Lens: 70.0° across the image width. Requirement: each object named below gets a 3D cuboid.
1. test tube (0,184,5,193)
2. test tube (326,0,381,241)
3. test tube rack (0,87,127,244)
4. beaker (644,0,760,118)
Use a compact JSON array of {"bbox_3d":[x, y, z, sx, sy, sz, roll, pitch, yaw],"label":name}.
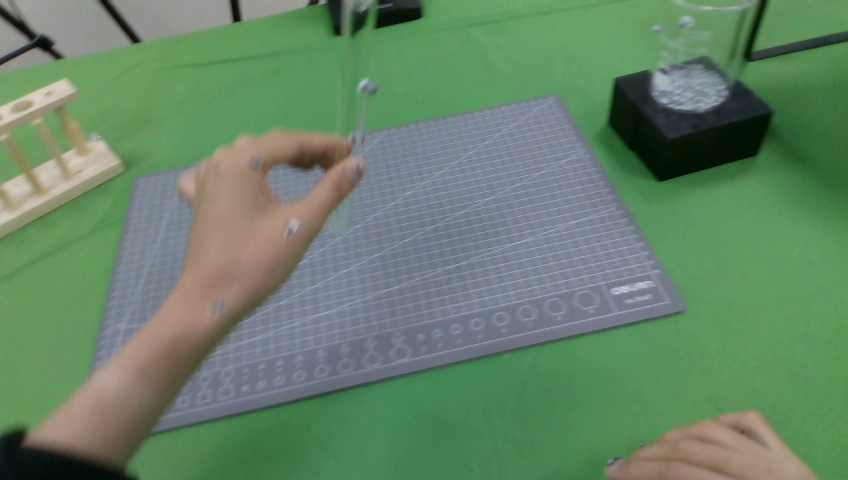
[{"bbox_3d":[-0.432,-0.100,0.559,0.017,0.151,0.017,-4,38,4],"label":"test tube"},{"bbox_3d":[-0.042,-0.061,0.342,0.017,0.151,0.017,8,36,-6],"label":"test tube"},{"bbox_3d":[-0.427,-0.046,0.577,0.242,0.086,0.066,-36,52,-24],"label":"test tube rack"},{"bbox_3d":[0.228,-0.163,0.516,0.074,0.101,0.083,-33,50,-21],"label":"beaker"}]
